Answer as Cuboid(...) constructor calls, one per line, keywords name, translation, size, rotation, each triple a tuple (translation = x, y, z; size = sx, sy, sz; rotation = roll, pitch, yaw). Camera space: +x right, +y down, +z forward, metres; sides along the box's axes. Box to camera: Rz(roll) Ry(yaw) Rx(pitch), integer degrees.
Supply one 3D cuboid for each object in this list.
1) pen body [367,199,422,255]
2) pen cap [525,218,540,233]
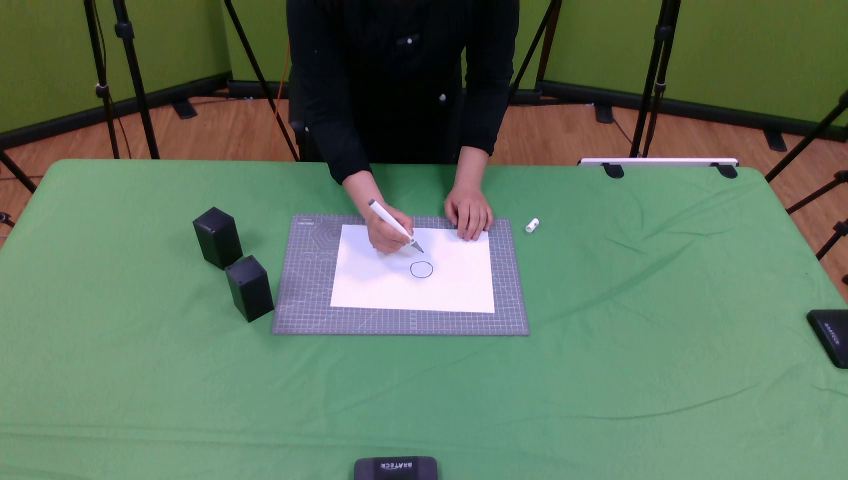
Cuboid(name="pen body", translation=(-0.051, -0.021, 1.121), size=(0.144, 0.017, 0.017), rotation=(46, 45, -20))
Cuboid(name="pen cap", translation=(0.224, -0.031, 1.248), size=(0.017, 0.017, 0.038), rotation=(30, 51, 23))
